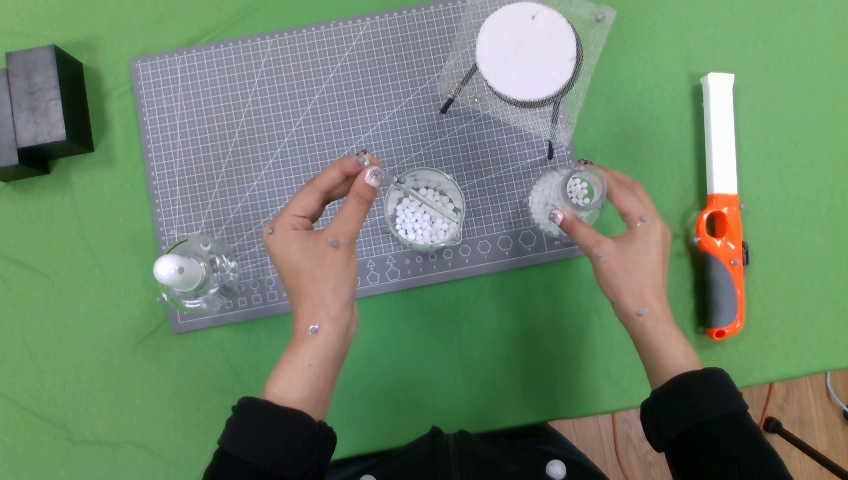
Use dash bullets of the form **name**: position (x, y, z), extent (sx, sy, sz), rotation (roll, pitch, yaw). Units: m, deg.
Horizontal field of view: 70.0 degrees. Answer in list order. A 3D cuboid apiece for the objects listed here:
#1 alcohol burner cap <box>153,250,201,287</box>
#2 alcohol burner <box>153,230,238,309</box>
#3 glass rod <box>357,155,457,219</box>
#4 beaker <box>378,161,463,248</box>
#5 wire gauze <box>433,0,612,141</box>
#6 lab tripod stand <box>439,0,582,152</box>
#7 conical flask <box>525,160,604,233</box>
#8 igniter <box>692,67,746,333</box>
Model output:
- **alcohol burner cap**: position (-0.224, 0.024, 0.544), extent (0.034, 0.048, 0.033), rotation (0, 78, -1)
- **alcohol burner**: position (-0.224, 0.028, 0.580), extent (0.078, 0.119, 0.078), rotation (0, 87, 1)
- **glass rod**: position (-0.007, -0.040, 0.520), extent (0.008, 0.201, 0.008), rotation (-4, 78, 22)
- **beaker**: position (0.000, -0.028, 0.591), extent (0.084, 0.100, 0.074), rotation (43, 87, 3)
- **wire gauze**: position (0.084, -0.163, 0.517), extent (0.125, 0.011, 0.121), rotation (21, 88, 2)
- **lab tripod stand**: position (0.088, -0.156, 0.583), extent (0.148, 0.131, 0.148), rotation (0, 87, 1)
- **conical flask**: position (0.137, -0.046, 0.568), extent (0.075, 0.122, 0.075), rotation (0, 88, 4)
- **igniter**: position (0.306, -0.043, 0.631), extent (0.057, 0.025, 0.276), rotation (1, 86, -10)
